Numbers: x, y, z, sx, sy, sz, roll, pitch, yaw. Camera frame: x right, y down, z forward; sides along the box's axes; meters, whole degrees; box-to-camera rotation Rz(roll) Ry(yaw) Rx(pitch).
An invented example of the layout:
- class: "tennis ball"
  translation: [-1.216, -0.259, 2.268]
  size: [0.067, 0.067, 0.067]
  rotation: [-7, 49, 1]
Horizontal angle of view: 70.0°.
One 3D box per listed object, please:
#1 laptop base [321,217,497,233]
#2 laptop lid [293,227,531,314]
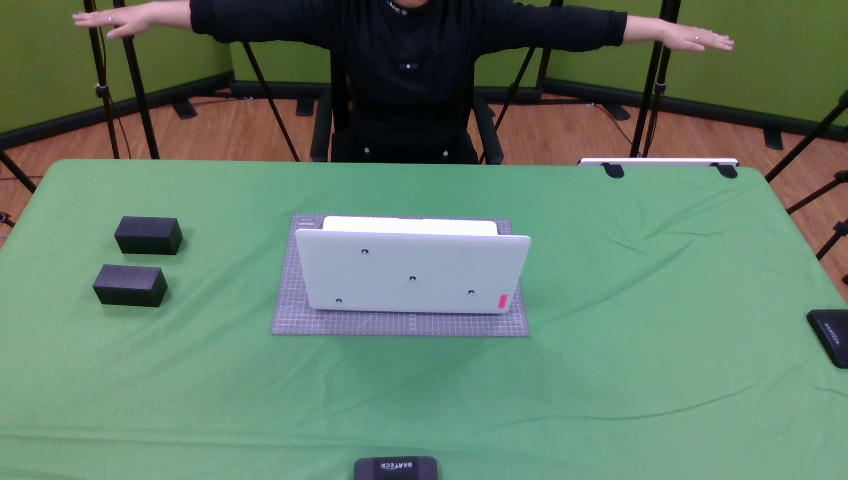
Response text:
- class: "laptop base"
  translation: [-0.028, 0.044, 1.154]
  size: [0.354, 0.023, 0.234]
  rotation: [2, 43, -3]
- class: "laptop lid"
  translation: [-0.021, 0.057, 0.976]
  size: [0.357, 0.243, 0.013]
  rotation: [2, 53, -4]
